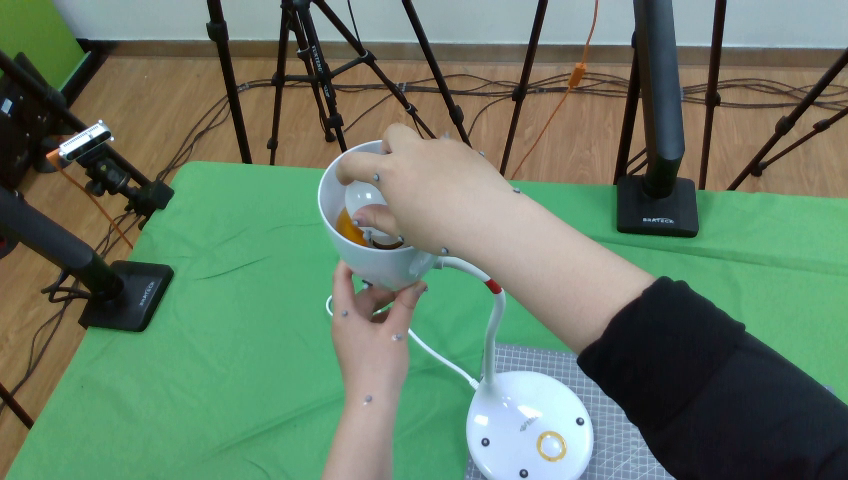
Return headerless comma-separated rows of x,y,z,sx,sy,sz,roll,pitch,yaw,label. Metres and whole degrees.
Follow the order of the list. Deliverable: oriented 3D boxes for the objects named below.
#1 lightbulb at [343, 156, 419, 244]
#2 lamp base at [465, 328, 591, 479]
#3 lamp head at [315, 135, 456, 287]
-0.033,-0.025,0.497,0.059,0.108,0.059,-1,63,2,lightbulb
0.112,0.185,0.721,0.177,0.182,0.160,28,62,29,lamp base
-0.027,-0.011,0.524,0.112,0.124,0.111,-2,57,4,lamp head
